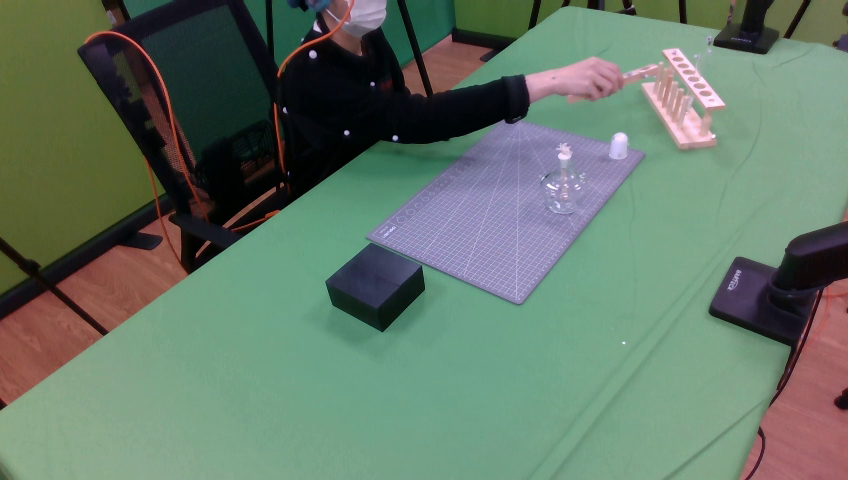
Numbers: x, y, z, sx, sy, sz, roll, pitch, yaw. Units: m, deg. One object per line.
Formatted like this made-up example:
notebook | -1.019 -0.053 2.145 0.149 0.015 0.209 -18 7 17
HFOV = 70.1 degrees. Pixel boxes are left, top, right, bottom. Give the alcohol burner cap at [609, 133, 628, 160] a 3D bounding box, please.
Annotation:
alcohol burner cap | 0.356 -0.172 1.101 0.034 0.048 0.033 -6 40 5

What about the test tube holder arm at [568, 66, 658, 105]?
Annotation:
test tube holder arm | 0.341 -0.279 1.088 0.179 0.015 0.013 -21 32 -9

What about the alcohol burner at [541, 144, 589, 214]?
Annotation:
alcohol burner | 0.229 -0.102 0.983 0.078 0.119 0.077 -6 41 5

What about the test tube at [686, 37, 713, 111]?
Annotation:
test tube | 0.509 -0.306 1.129 0.017 0.151 0.017 -1 45 2

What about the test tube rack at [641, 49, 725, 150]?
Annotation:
test tube rack | 0.495 -0.279 1.175 0.067 0.085 0.241 -5 41 3

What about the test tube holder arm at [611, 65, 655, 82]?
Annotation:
test tube holder arm | 0.381 -0.298 1.099 0.088 0.015 0.010 -21 32 -9
